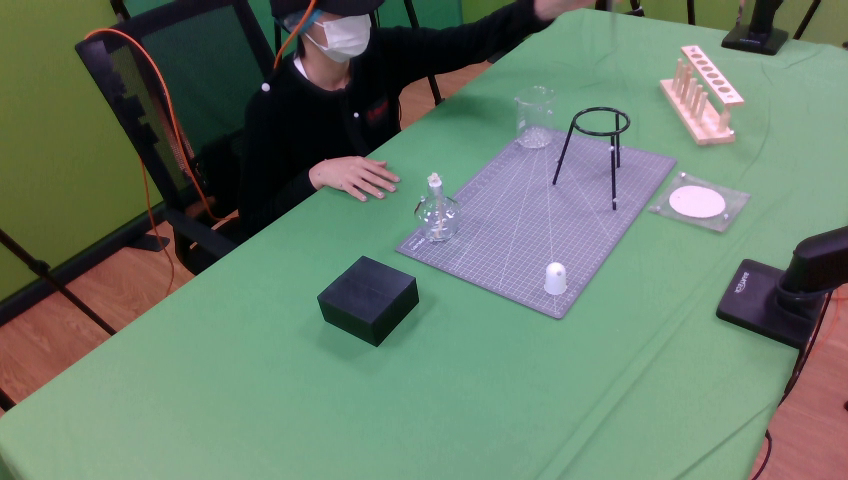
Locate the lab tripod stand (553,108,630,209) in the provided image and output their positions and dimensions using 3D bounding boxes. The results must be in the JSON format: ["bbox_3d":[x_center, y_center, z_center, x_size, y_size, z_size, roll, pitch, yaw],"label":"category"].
[{"bbox_3d":[0.292,-0.144,1.010,0.148,0.132,0.147,-5,38,4],"label":"lab tripod stand"}]

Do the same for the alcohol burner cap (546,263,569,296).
[{"bbox_3d":[0.191,0.053,0.862,0.034,0.048,0.033,-5,40,4],"label":"alcohol burner cap"}]

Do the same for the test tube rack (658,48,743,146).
[{"bbox_3d":[0.532,-0.284,1.181,0.067,0.085,0.241,-5,40,4],"label":"test tube rack"}]

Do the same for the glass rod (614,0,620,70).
[{"bbox_3d":[0.330,-0.391,1.032,0.008,0.200,0.008,-6,27,4],"label":"glass rod"}]

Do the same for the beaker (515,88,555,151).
[{"bbox_3d":[0.213,-0.230,1.152,0.073,0.101,0.084,20,47,29],"label":"beaker"}]

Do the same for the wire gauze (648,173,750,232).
[{"bbox_3d":[0.451,-0.062,0.990,0.120,0.011,0.125,26,49,32],"label":"wire gauze"}]

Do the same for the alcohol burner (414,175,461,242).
[{"bbox_3d":[0.021,-0.055,0.963,0.078,0.119,0.077,-4,42,4],"label":"alcohol burner"}]
